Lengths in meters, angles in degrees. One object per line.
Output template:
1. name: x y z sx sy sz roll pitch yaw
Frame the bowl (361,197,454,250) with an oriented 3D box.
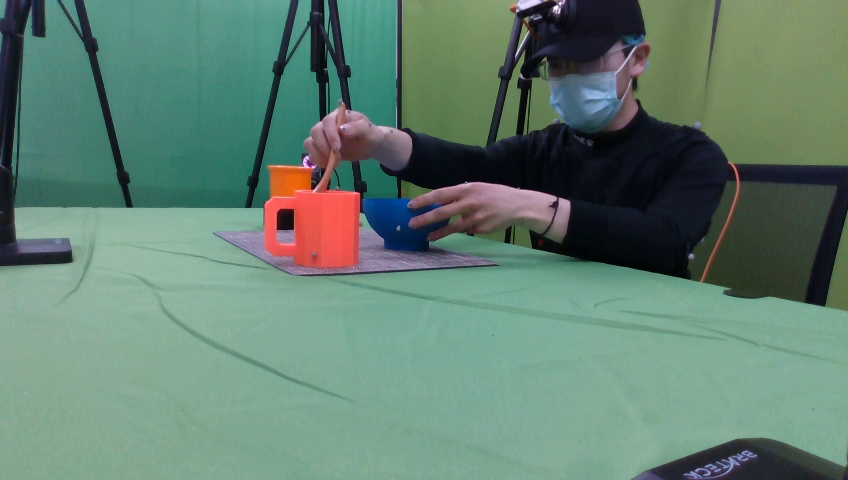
1. bowl: -0.028 -0.028 0.984 0.151 0.077 0.151 2 7 0

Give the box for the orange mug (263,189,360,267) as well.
1. orange mug: -0.147 -0.019 0.794 0.127 0.100 0.083 5 6 -20

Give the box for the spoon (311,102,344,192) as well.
1. spoon: -0.132 -0.099 0.818 0.021 0.193 0.042 9 -14 28
